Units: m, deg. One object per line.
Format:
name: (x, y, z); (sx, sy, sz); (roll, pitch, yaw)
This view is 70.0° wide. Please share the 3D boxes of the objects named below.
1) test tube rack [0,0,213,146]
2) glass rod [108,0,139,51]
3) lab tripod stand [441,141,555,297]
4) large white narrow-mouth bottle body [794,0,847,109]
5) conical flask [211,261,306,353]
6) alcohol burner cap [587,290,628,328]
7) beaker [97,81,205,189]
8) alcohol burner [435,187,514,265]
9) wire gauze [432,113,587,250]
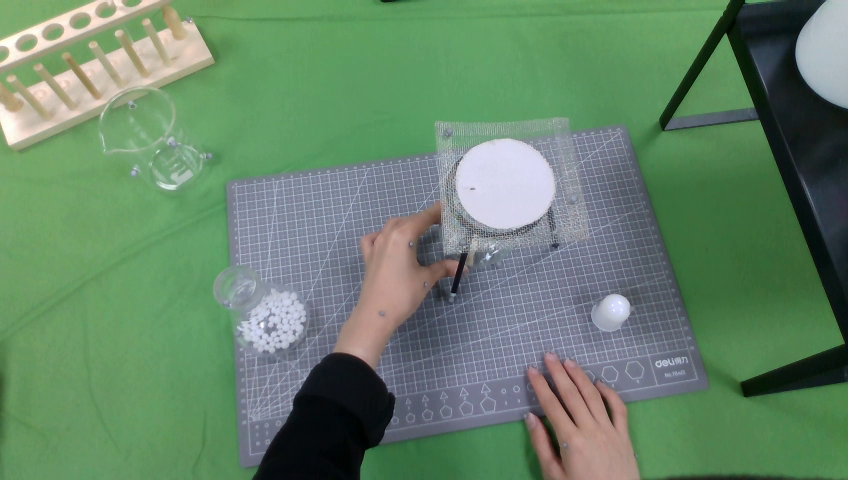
test tube rack: (-0.372, -0.201, 0.671); (0.242, 0.086, 0.066); (-28, 72, -10)
glass rod: (-0.330, -0.265, 0.624); (0.008, 0.201, 0.008); (2, 66, -4)
lab tripod stand: (0.064, -0.024, 0.576); (0.148, 0.132, 0.147); (1, 67, -1)
large white narrow-mouth bottle body: (0.353, -0.182, 0.416); (0.102, 0.196, 0.101); (0, 67, 0)
conical flask: (-0.155, 0.056, 0.552); (0.075, 0.122, 0.075); (0, 69, 1)
alcohol burner cap: (0.181, 0.065, 0.592); (0.034, 0.048, 0.033); (0, 70, 0)
beaker: (-0.278, -0.101, 0.626); (0.073, 0.101, 0.084); (36, 74, 14)
alcohol burner: (0.051, -0.020, 0.586); (0.078, 0.120, 0.077); (1, 68, -1)
wire gauze: (0.071, -0.054, 0.515); (0.121, 0.011, 0.124); (-3, 70, -3)
